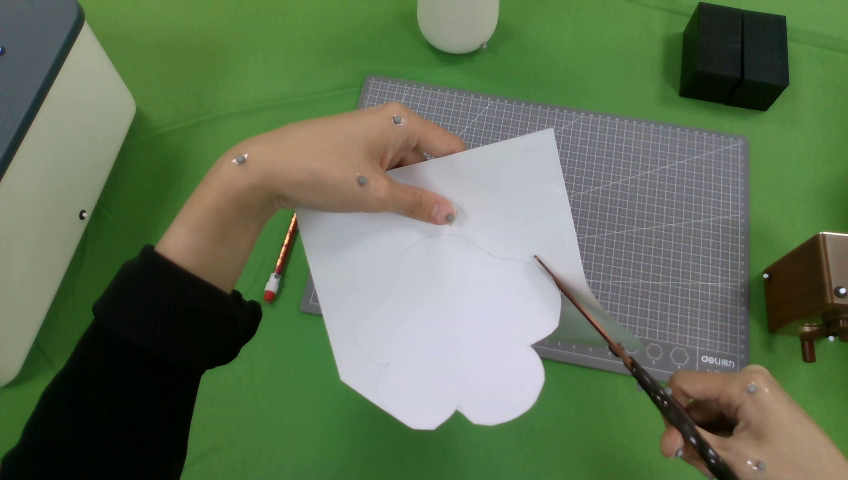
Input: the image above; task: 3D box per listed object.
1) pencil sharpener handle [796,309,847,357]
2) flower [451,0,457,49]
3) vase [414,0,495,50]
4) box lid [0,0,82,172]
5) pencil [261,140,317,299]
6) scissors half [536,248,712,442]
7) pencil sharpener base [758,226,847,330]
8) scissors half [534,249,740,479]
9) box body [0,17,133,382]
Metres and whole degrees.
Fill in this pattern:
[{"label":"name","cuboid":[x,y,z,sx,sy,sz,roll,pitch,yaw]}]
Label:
[{"label":"pencil sharpener handle","cuboid":[0.365,0.085,0.545,0.036,0.068,0.030,11,68,-10]},{"label":"flower","cuboid":[0.031,-0.349,0.591,0.044,0.365,0.038,3,50,5]},{"label":"vase","cuboid":[0.035,-0.304,0.663,0.098,0.201,0.097,0,66,1]},{"label":"box lid","cuboid":[-0.477,-0.091,0.511,0.263,0.015,0.369,11,68,3]},{"label":"pencil","cuboid":[-0.142,-0.028,0.653,0.012,0.012,0.193,11,67,5]},{"label":"scissors half","cuboid":[0.123,0.069,0.373,0.013,0.040,0.176,-40,104,10]},{"label":"pencil sharpener base","cuboid":[0.375,0.043,0.575,0.061,0.108,0.076,6,68,2]},{"label":"scissors half","cuboid":[0.121,0.072,0.352,0.013,0.040,0.174,-40,81,5]},{"label":"box body","cuboid":[-0.477,-0.060,0.580,0.254,0.161,0.361,10,68,4]}]
